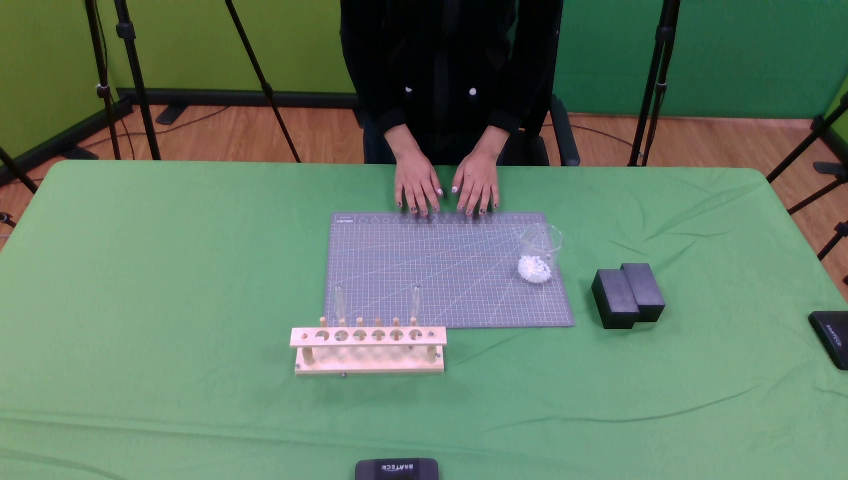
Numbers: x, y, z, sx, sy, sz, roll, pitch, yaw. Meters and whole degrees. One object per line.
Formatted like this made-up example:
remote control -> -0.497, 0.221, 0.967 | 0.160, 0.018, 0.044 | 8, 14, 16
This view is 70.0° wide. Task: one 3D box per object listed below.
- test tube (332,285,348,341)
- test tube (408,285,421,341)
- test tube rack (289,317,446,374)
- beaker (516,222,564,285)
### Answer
test tube -> -0.133, 0.122, 0.965 | 0.017, 0.151, 0.017 | 1, 47, -1
test tube -> -0.016, 0.123, 0.973 | 0.017, 0.151, 0.017 | 3, 46, -2
test tube rack -> -0.089, 0.167, 0.988 | 0.242, 0.085, 0.066 | 0, 46, -4
beaker -> 0.211, 0.029, 1.132 | 0.084, 0.101, 0.073 | -1, 46, -4
